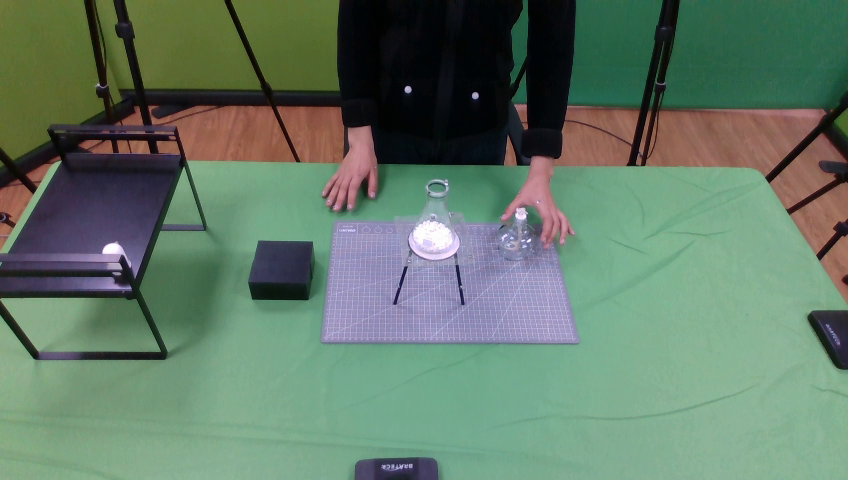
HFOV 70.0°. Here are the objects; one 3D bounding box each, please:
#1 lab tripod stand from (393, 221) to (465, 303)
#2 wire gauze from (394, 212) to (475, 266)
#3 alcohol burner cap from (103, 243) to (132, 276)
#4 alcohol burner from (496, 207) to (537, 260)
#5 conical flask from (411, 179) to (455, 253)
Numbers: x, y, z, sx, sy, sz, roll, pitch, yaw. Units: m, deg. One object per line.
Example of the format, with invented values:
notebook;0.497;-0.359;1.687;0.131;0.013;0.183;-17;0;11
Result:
lab tripod stand;0.010;0.046;1.074;0.148;0.132;0.147;2;48;-2
wire gauze;0.015;-0.001;1.029;0.125;0.011;0.120;-5;45;-5
alcohol burner cap;-0.446;0.025;0.875;0.034;0.048;0.033;3;46;-3
alcohol burner;0.180;-0.018;1.162;0.078;0.120;0.077;1;47;-1
conical flask;0.018;-0.042;0.985;0.075;0.122;0.075;2;47;-1
